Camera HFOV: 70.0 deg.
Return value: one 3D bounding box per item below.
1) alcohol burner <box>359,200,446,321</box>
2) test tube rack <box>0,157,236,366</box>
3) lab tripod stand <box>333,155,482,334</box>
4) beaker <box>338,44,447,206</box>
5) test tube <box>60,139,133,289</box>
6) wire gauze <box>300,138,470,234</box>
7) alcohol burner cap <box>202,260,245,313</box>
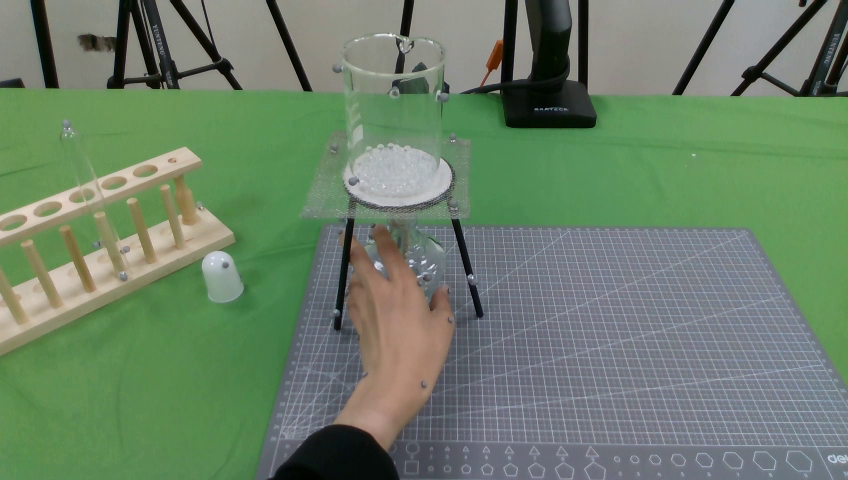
[{"bbox_3d":[-0.019,0.013,0.524,0.078,0.120,0.077,1,40,0],"label":"alcohol burner"},{"bbox_3d":[-0.304,0.015,0.549,0.242,0.086,0.066,-30,47,-32],"label":"test tube rack"},{"bbox_3d":[-0.016,0.006,0.517,0.148,0.132,0.147,1,38,-1],"label":"lab tripod stand"},{"bbox_3d":[-0.022,-0.084,0.446,0.074,0.101,0.083,8,39,7],"label":"beaker"},{"bbox_3d":[-0.279,-0.018,0.520,0.017,0.151,0.017,1,37,0],"label":"test tube"},{"bbox_3d":[-0.025,-0.044,0.474,0.121,0.011,0.124,2,41,3],"label":"wire gauze"},{"bbox_3d":[-0.185,0.040,0.554,0.034,0.048,0.033,1,39,0],"label":"alcohol burner cap"}]
